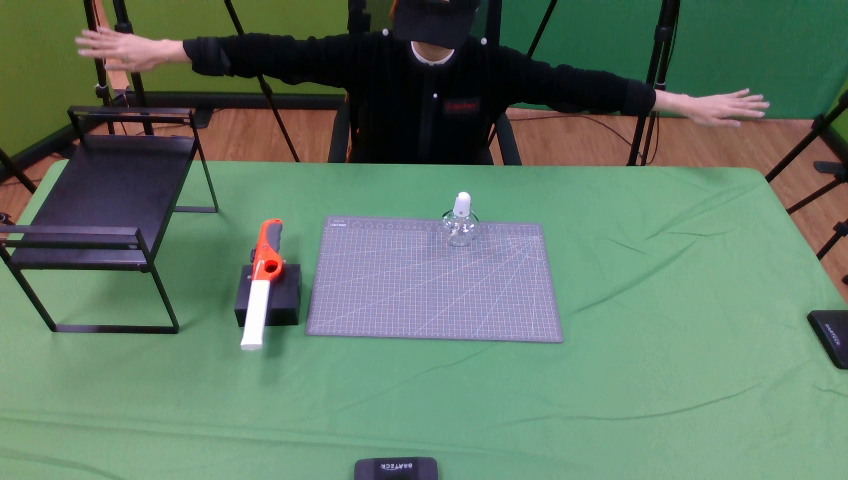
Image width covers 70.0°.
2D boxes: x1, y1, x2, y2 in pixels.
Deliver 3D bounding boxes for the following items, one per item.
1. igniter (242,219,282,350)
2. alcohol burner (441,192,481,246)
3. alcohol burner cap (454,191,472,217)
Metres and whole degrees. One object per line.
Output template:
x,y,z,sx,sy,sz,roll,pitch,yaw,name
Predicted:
-0.277,0.065,1.043,0.057,0.025,0.274,1,48,-6,igniter
0.073,-0.046,1.176,0.078,0.119,0.077,2,44,-2,alcohol burner
0.076,-0.070,1.150,0.034,0.048,0.033,2,43,-2,alcohol burner cap
